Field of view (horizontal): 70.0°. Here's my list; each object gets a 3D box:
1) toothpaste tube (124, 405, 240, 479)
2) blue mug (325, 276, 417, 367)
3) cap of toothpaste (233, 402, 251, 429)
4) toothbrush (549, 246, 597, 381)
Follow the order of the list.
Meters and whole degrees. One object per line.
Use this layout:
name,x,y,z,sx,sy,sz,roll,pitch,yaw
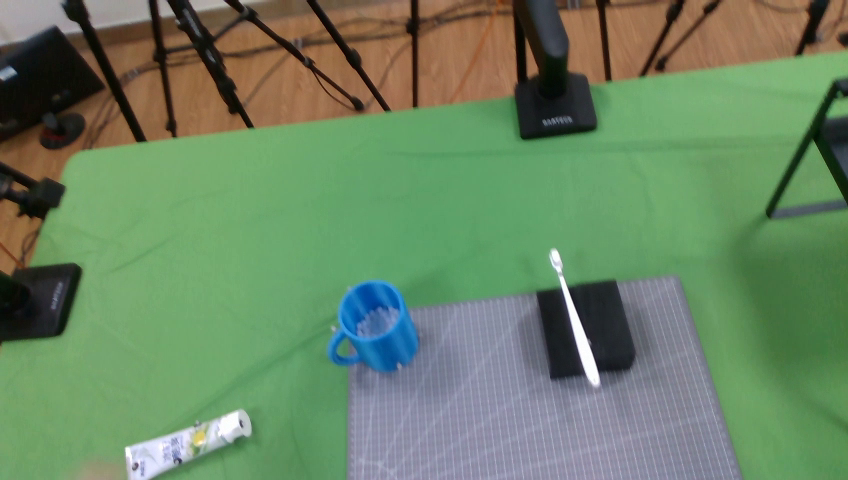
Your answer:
toothpaste tube,-0.307,0.253,0.777,0.165,0.035,0.054,-22,54,0
blue mug,-0.072,0.114,0.770,0.116,0.107,0.081,-32,59,-9
cap of toothpaste,-0.234,0.225,0.774,0.011,0.038,0.037,-22,58,0
toothbrush,0.181,0.085,0.739,0.014,0.017,0.180,-9,58,-2
